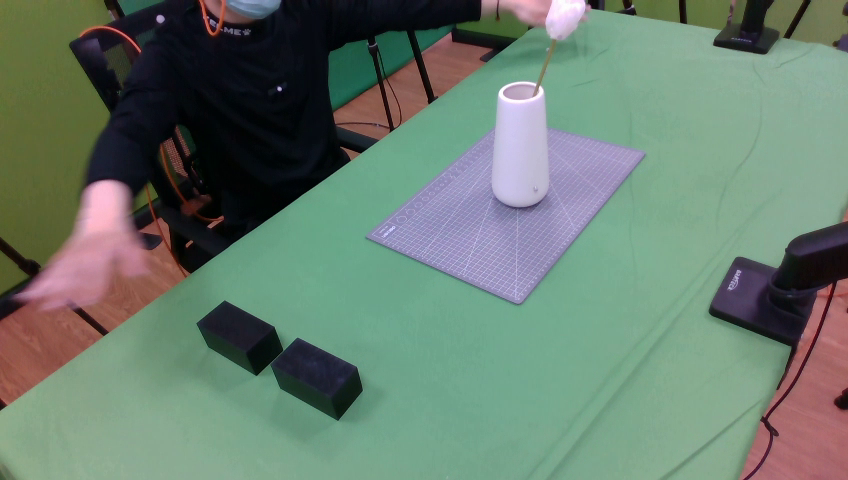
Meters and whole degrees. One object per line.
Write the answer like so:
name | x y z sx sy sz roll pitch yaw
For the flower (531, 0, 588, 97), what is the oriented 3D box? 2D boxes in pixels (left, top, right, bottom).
flower | 0.163 -0.206 0.918 0.044 0.362 0.038 10 53 -5

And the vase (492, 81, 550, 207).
vase | 0.159 -0.152 0.982 0.098 0.201 0.097 -3 41 3
